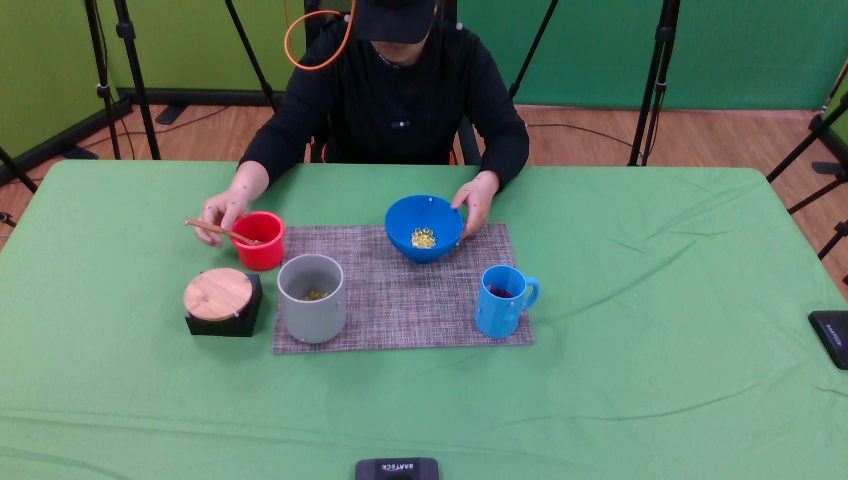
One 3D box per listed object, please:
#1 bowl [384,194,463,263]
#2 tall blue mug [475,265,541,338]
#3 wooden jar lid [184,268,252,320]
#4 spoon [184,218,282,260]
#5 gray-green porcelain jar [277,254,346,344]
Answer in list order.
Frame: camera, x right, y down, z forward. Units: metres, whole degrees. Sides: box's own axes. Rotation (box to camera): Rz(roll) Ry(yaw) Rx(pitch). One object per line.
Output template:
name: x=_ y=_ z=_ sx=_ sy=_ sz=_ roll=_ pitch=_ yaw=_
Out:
bowl: x=-0.002 y=-0.010 z=1.164 sx=0.151 sy=0.077 sz=0.150 roll=2 pitch=46 yaw=-2
tall blue mug: x=0.142 y=0.098 z=1.047 sx=0.077 sy=0.108 sz=0.107 roll=33 pitch=53 yaw=27
wooden jar lid: x=-0.343 y=0.092 z=1.015 sx=0.108 sy=0.021 sz=0.107 roll=3 pitch=46 yaw=-3
spoon: x=-0.340 y=-0.005 z=1.093 sx=0.021 sy=0.195 sz=0.041 roll=-35 pitch=49 yaw=25
gray-green porcelain jar: x=-0.184 y=0.102 z=1.008 sx=0.106 sy=0.127 sz=0.105 roll=2 pitch=46 yaw=-2
